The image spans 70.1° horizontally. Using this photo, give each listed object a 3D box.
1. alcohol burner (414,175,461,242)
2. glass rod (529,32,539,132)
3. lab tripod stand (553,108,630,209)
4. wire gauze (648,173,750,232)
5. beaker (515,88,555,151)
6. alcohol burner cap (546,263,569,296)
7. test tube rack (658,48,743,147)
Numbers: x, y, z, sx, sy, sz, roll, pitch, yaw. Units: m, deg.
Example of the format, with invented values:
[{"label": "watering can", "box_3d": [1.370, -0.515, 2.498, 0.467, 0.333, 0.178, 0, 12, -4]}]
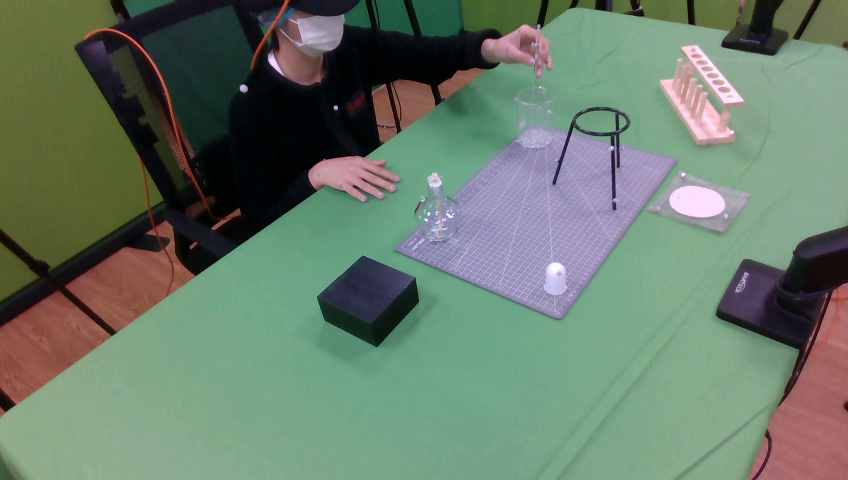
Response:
[{"label": "alcohol burner", "box_3d": [0.020, -0.055, 0.963, 0.078, 0.119, 0.077, -3, 41, 4]}, {"label": "glass rod", "box_3d": [0.203, -0.287, 1.120, 0.008, 0.200, 0.008, -2, 42, 2]}, {"label": "lab tripod stand", "box_3d": [0.292, -0.144, 1.010, 0.148, 0.132, 0.147, -5, 38, 4]}, {"label": "wire gauze", "box_3d": [0.451, -0.062, 0.990, 0.120, 0.011, 0.125, 26, 49, 32]}, {"label": "beaker", "box_3d": [0.213, -0.230, 1.152, 0.073, 0.101, 0.084, 20, 47, 29]}, {"label": "alcohol burner cap", "box_3d": [0.191, 0.053, 0.862, 0.034, 0.048, 0.033, -5, 40, 4]}, {"label": "test tube rack", "box_3d": [0.532, -0.284, 1.181, 0.067, 0.085, 0.241, -5, 40, 4]}]
